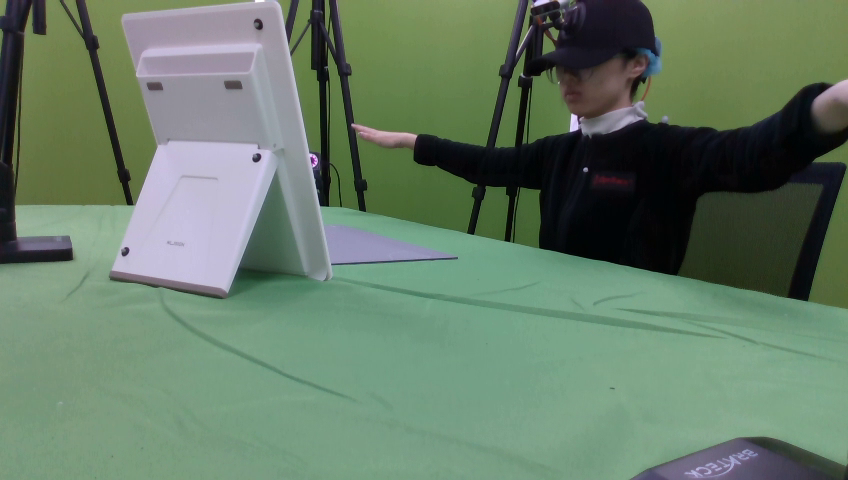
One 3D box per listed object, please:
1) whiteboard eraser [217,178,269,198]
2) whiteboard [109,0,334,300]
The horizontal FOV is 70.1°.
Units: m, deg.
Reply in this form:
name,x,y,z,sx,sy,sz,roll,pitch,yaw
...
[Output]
name,x,y,z,sx,sy,sz,roll,pitch,yaw
whiteboard eraser,-0.389,-0.113,1.303,0.055,0.042,0.113,4,7,20
whiteboard,-0.247,-0.072,0.624,0.216,0.305,0.144,6,28,26
